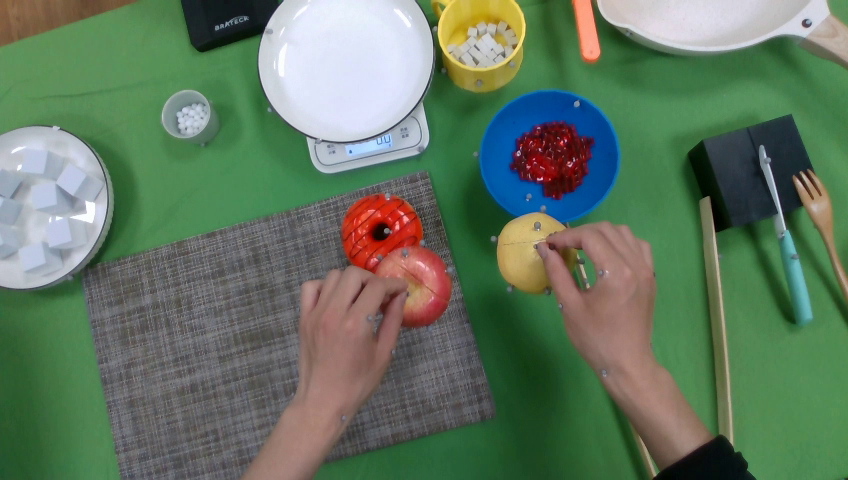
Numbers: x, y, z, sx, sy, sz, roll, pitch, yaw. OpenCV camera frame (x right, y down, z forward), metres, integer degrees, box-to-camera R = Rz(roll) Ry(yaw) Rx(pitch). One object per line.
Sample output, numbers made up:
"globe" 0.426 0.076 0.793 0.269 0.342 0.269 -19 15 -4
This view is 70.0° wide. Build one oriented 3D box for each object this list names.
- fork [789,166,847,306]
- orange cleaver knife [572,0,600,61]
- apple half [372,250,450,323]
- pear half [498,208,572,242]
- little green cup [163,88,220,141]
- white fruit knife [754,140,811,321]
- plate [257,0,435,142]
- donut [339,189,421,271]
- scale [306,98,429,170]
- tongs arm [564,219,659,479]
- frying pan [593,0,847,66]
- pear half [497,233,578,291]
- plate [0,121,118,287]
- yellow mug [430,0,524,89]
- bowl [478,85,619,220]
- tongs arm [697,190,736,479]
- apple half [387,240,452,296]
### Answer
"fork" 0.443 0.016 0.653 0.028 0.018 0.208 -25 97 0
"orange cleaver knife" 0.185 -0.305 0.677 0.077 0.012 0.210 -11 83 6
"apple half" -0.020 0.053 0.605 0.081 0.074 0.053 37 92 1
"pear half" 0.104 -0.015 0.582 0.070 0.088 0.031 -14 85 0
"little green cup" -0.286 -0.153 0.752 0.061 0.039 0.061 -1 82 6
"white fruit knife" 0.385 -0.008 0.653 0.016 0.027 0.208 -18 96 3
"plate" -0.089 -0.214 0.712 0.209 0.038 0.208 -1 83 5
"donut" -0.051 -0.011 0.707 0.099 0.048 0.099 -1 83 8
"scale" -0.082 -0.195 0.742 0.148 0.031 0.200 -12 82 4
"tongs arm" 0.233 0.152 0.670 0.051 0.026 0.383 -15 83 -1
"frying pan" 0.383 -0.276 0.674 0.307 0.103 0.484 -43 73 0
"pear half" 0.110 0.019 0.569 0.076 0.110 0.056 -13 83 1
"plate" -0.478 -0.043 0.756 0.207 0.039 0.207 -1 83 5
"yellow mug" 0.056 -0.249 0.719 0.130 0.064 0.100 42 89 10
"bowl" 0.136 -0.089 0.687 0.151 0.077 0.151 -1 84 5
"tongs arm" 0.318 0.137 0.668 0.028 0.028 0.386 0 83 -3
"apple half" 0.003 0.021 0.605 0.081 0.081 0.033 37 91 9
